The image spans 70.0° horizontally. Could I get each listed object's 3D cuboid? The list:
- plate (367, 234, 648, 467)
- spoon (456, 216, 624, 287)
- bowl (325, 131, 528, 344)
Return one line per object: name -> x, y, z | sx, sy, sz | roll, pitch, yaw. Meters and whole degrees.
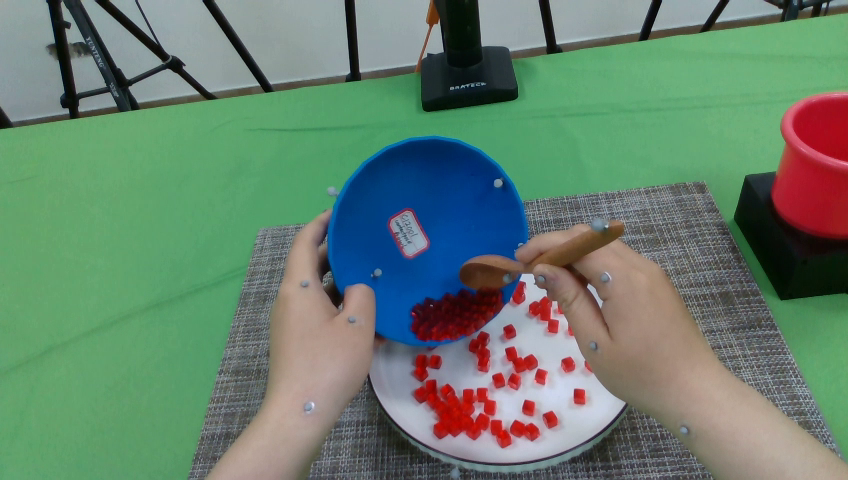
plate -> 0.062, 0.079, 0.467 | 0.207, 0.039, 0.205 | -6, 45, 6
spoon -> 0.065, 0.012, 0.374 | 0.042, 0.193, 0.021 | 19, 77, -13
bowl -> -0.006, -0.003, 0.460 | 0.151, 0.152, 0.076 | -25, 13, -15
